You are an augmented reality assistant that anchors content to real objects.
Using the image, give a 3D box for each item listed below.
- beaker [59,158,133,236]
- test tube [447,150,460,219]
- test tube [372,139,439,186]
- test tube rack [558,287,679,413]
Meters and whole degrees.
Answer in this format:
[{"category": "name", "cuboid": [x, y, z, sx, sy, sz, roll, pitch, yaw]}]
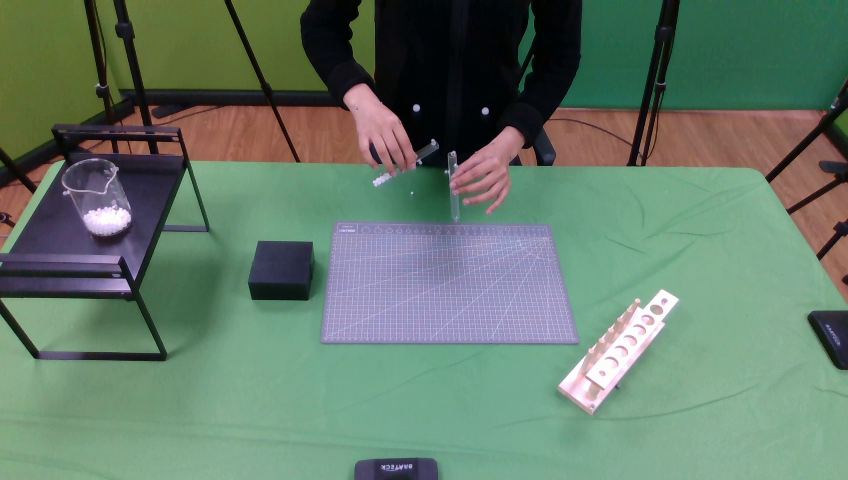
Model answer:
[{"category": "beaker", "cuboid": [-0.488, -0.060, 0.915, 0.074, 0.101, 0.083, -35, 58, -31]}, {"category": "test tube", "cuboid": [0.054, -0.097, 1.096, 0.017, 0.151, 0.017, -3, 43, 3]}, {"category": "test tube", "cuboid": [-0.035, -0.134, 1.069, 0.150, 0.017, 0.017, -30, 39, 27]}, {"category": "test tube rack", "cuboid": [0.326, 0.170, 1.009, 0.066, 0.085, 0.242, 36, 54, 26]}]
